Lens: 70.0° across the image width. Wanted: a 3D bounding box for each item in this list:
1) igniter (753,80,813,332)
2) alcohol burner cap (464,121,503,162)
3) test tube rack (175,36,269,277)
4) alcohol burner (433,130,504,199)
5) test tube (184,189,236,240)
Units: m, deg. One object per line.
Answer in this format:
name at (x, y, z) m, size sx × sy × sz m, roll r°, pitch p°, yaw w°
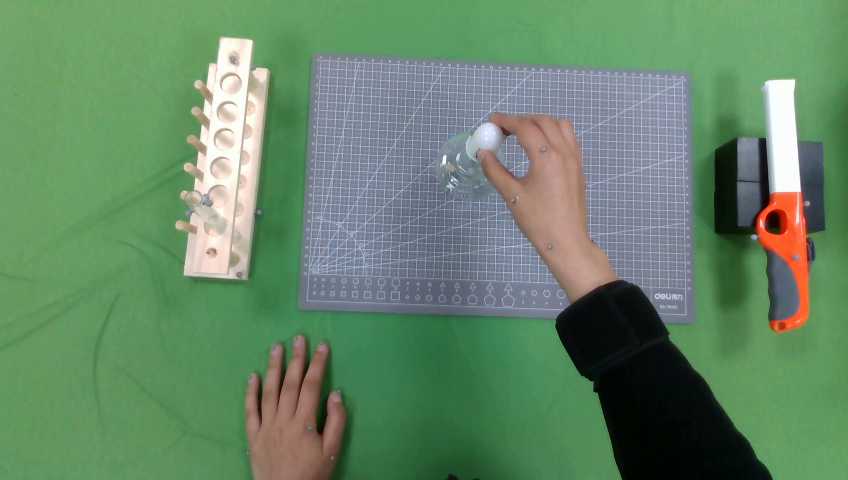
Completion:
igniter at (0.387, -0.039, 0.657) m, size 0.057 × 0.025 × 0.275 m, roll 1°, pitch 82°, yaw 9°
alcohol burner cap at (0.058, -0.096, 0.576) m, size 0.034 × 0.048 × 0.033 m, roll 2°, pitch 79°, yaw -9°
test tube rack at (-0.220, -0.085, 0.647) m, size 0.067 × 0.085 × 0.241 m, roll 5°, pitch 83°, yaw -2°
alcohol burner at (0.049, -0.084, 0.645) m, size 0.078 × 0.119 × 0.077 m, roll 0°, pitch 84°, yaw -2°
test tube at (-0.205, -0.022, 0.590) m, size 0.017 × 0.150 × 0.017 m, roll 1°, pitch 78°, yaw -5°
